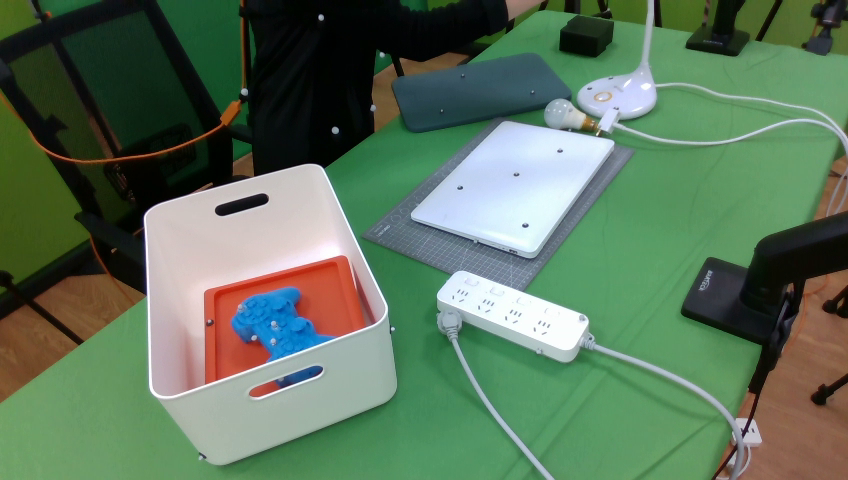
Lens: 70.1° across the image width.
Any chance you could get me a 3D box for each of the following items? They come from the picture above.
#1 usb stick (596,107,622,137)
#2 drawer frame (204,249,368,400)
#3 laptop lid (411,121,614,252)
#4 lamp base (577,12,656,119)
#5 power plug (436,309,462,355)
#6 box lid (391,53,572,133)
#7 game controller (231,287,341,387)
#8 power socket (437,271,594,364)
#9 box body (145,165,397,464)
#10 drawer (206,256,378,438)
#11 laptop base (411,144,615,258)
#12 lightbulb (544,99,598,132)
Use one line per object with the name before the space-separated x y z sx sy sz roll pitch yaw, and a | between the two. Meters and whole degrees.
usb stick | 0.355 -0.223 1.168 0.027 0.059 0.022 37 14 34
drawer frame | -0.174 0.129 0.790 0.202 0.083 0.212 -16 45 -8
laptop lid | 0.164 -0.112 1.068 0.240 0.013 0.357 19 46 30
lamp base | 0.404 -0.360 1.218 0.180 0.181 0.159 -24 43 -23
power plug | 0.032 0.126 0.810 0.035 0.053 0.072 3 59 7
box lid | 0.123 -0.339 1.366 0.372 0.015 0.261 -12 40 -5
game controller | -0.167 0.110 0.734 0.097 0.052 0.154 -34 47 -22
power socket | 0.118 0.102 0.830 0.225 0.033 0.072 20 48 28
box body | -0.205 0.080 0.802 0.255 0.161 0.361 -18 41 -13
drawer | -0.177 0.130 0.787 0.195 0.073 0.210 -14 39 -9
laptop base | 0.167 -0.102 1.075 0.234 0.023 0.355 16 45 30
lightbulb | 0.292 -0.241 1.198 0.107 0.059 0.059 22 46 9
